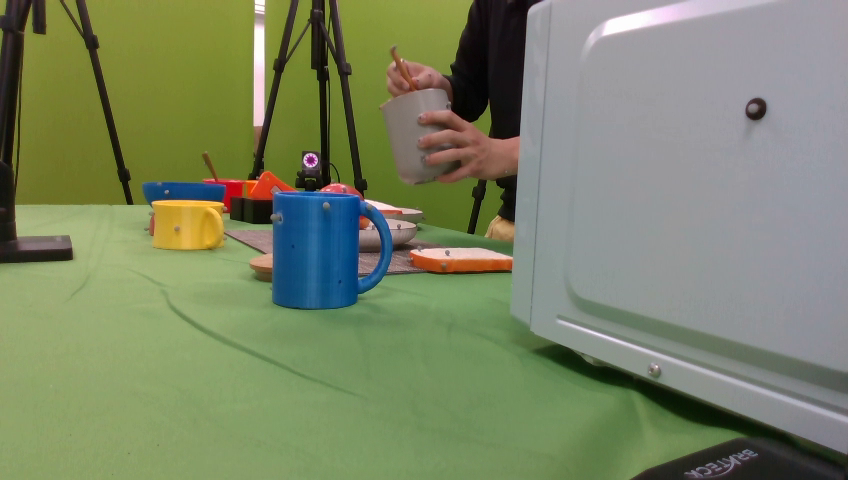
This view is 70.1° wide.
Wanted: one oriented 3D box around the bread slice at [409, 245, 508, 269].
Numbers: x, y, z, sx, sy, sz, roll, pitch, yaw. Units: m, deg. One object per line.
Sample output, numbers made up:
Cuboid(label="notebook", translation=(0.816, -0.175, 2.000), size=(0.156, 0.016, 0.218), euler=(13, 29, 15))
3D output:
Cuboid(label="bread slice", translation=(0.048, 0.021, 0.816), size=(0.132, 0.019, 0.104), euler=(-1, 7, -24))

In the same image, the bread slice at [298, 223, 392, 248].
Cuboid(label="bread slice", translation=(-0.120, -0.009, 0.971), size=(0.106, 0.018, 0.135), euler=(8, 14, 41))

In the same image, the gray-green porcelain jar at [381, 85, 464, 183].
Cuboid(label="gray-green porcelain jar", translation=(0.000, -0.159, 0.931), size=(0.106, 0.126, 0.106), euler=(-15, -1, 0))

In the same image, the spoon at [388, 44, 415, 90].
Cuboid(label="spoon", translation=(-0.014, -0.212, 0.937), size=(0.022, 0.193, 0.041), euler=(-22, 7, -12))

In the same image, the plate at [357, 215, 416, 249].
Cuboid(label="plate", translation=(-0.116, -0.014, 0.967), size=(0.208, 0.039, 0.207), euler=(2, 7, 0))

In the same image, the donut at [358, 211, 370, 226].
Cuboid(label="donut", translation=(-0.132, -0.042, 0.959), size=(0.099, 0.048, 0.099), euler=(2, 7, 0))

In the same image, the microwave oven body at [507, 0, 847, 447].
Cuboid(label="microwave oven body", translation=(0.331, -0.042, 0.425), size=(0.444, 0.260, 0.324), euler=(-2, 8, -31))

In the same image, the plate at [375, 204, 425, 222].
Cuboid(label="plate", translation=(-0.102, -0.053, 1.299), size=(0.209, 0.038, 0.209), euler=(2, 8, 0))

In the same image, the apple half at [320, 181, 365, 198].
Cuboid(label="apple half", translation=(-0.130, -0.077, 0.952), size=(0.081, 0.033, 0.081), euler=(4, 14, -1))

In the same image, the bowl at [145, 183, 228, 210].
Cuboid(label="bowl", translation=(-0.459, -0.069, 1.175), size=(0.151, 0.077, 0.151), euler=(3, 7, 0))

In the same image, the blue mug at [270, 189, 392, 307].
Cuboid(label="blue mug", translation=(-0.090, 0.005, 0.588), size=(0.117, 0.106, 0.082), euler=(1, 7, -11))

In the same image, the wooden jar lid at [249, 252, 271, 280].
Cuboid(label="wooden jar lid", translation=(-0.148, 0.028, 0.708), size=(0.108, 0.020, 0.108), euler=(0, 10, 0))

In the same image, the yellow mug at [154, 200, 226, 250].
Cuboid(label="yellow mug", translation=(-0.337, -0.023, 0.899), size=(0.130, 0.064, 0.100), euler=(7, 10, 34))

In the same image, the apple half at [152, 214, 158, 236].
Cuboid(label="apple half", translation=(-0.415, -0.034, 1.017), size=(0.081, 0.053, 0.074), euler=(1, 10, -8))

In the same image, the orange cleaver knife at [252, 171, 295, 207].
Cuboid(label="orange cleaver knife", translation=(-0.283, -0.087, 1.343), size=(0.212, 0.077, 0.012), euler=(24, -16, -41))

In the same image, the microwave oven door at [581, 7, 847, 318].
Cuboid(label="microwave oven door", translation=(0.295, -0.067, 0.570), size=(0.358, 0.243, 0.039), euler=(-3, 8, -31))

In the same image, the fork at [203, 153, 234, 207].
Cuboid(label="fork", translation=(-0.480, -0.134, 1.411), size=(0.028, 0.018, 0.207), euler=(1, -35, 0))

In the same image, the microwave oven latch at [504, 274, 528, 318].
Cuboid(label="microwave oven latch", translation=(0.100, 0.041, 0.471), size=(0.079, 0.029, 0.030), euler=(-1, 7, -27))
